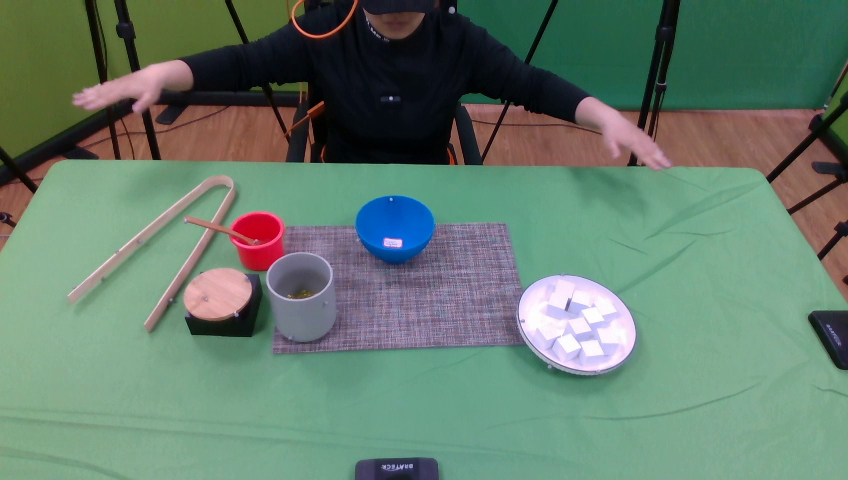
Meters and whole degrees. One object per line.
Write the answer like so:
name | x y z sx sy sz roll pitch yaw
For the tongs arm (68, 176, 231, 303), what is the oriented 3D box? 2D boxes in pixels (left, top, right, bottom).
tongs arm | -0.510 -0.010 1.162 0.050 0.026 0.383 20 47 14

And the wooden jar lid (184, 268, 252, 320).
wooden jar lid | -0.343 0.092 1.015 0.108 0.021 0.107 3 46 -3

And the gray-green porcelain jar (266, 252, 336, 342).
gray-green porcelain jar | -0.202 0.100 1.009 0.106 0.127 0.105 2 46 -2

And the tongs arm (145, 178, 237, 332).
tongs arm | -0.432 0.014 1.149 0.028 0.028 0.385 8 45 7

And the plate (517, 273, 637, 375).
plate | 0.264 0.149 1.060 0.209 0.038 0.208 3 46 -3

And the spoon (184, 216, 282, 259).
spoon | -0.341 -0.008 1.096 0.195 0.021 0.041 29 34 -41

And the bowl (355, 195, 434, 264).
bowl | -0.056 -0.008 1.158 0.151 0.077 0.150 2 46 -2
